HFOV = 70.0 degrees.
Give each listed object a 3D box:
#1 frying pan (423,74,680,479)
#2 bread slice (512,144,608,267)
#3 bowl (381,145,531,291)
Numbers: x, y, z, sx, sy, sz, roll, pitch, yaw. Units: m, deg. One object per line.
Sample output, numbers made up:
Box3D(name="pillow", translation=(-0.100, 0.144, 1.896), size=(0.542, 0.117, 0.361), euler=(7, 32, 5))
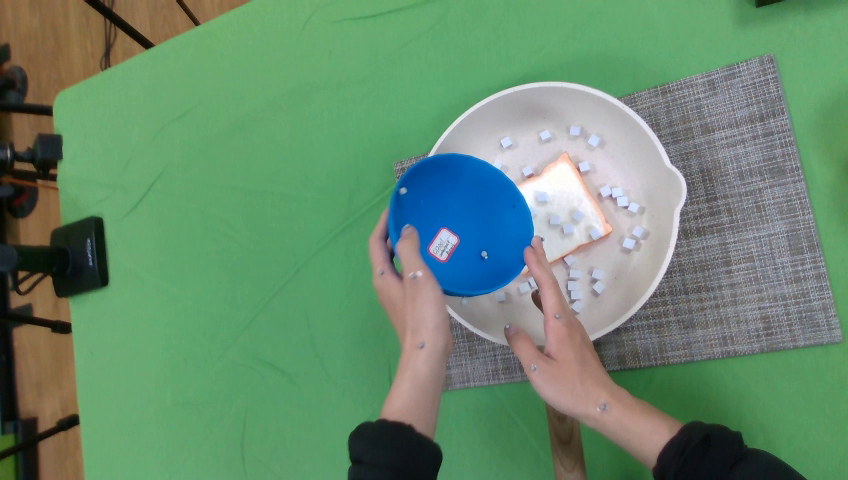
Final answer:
Box3D(name="frying pan", translation=(0.131, 0.067, 0.656), size=(0.306, 0.103, 0.485), euler=(-9, 75, 23))
Box3D(name="bread slice", translation=(0.132, -0.030, 0.705), size=(0.134, 0.018, 0.106), euler=(-34, 75, 15))
Box3D(name="bowl", translation=(0.024, -0.012, 0.616), size=(0.152, 0.077, 0.150), euler=(6, 68, -15))
